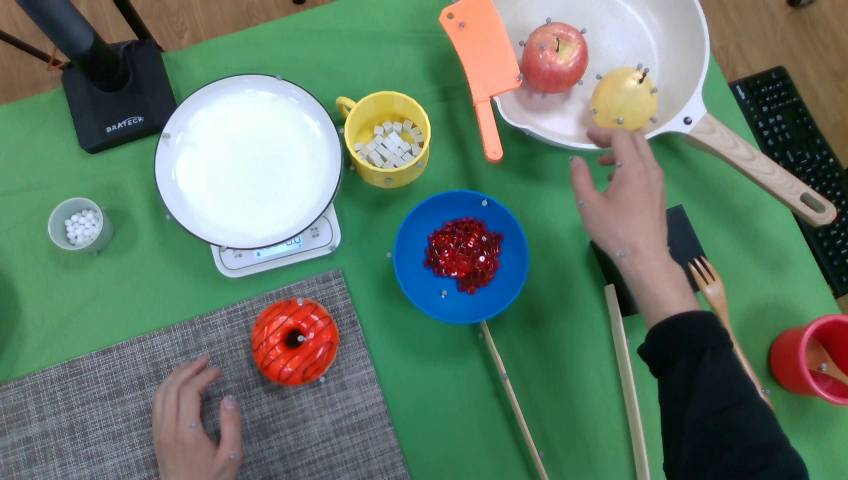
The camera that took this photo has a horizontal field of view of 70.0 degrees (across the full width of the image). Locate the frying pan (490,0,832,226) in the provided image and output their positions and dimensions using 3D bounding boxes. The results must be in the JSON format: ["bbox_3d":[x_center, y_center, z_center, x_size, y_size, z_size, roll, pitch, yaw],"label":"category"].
[{"bbox_3d":[0.272,-0.176,0.733,0.485,0.103,0.306,42,80,14],"label":"frying pan"}]

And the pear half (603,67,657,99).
[{"bbox_3d":[0.249,-0.192,0.738,0.070,0.088,0.031,11,77,6],"label":"pear half"}]

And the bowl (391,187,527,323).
[{"bbox_3d":[0.037,0.022,0.695,0.151,0.077,0.150,1,79,-2],"label":"bowl"}]

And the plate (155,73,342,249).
[{"bbox_3d":[-0.196,-0.089,0.696,0.209,0.038,0.208,1,78,-3],"label":"plate"}]

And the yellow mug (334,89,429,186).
[{"bbox_3d":[-0.057,-0.130,0.727,0.130,0.064,0.100,37,80,6],"label":"yellow mug"}]

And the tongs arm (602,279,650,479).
[{"bbox_3d":[0.234,0.236,0.687,0.028,0.028,0.386,-3,80,-11],"label":"tongs arm"}]

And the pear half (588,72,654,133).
[{"bbox_3d":[0.236,-0.163,0.721,0.076,0.110,0.056,16,78,5],"label":"pear half"}]

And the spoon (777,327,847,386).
[{"bbox_3d":[0.464,0.161,0.653,0.041,0.022,0.191,-24,36,-8],"label":"spoon"}]

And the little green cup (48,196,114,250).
[{"bbox_3d":[-0.394,-0.017,0.702,0.061,0.039,0.061,1,78,-2],"label":"little green cup"}]

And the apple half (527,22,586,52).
[{"bbox_3d":[0.166,-0.246,0.752,0.081,0.081,0.032,22,81,2],"label":"apple half"}]

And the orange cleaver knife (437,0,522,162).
[{"bbox_3d":[0.074,-0.195,0.709,0.077,0.012,0.210,-14,80,-3],"label":"orange cleaver knife"}]

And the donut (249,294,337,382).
[{"bbox_3d":[-0.147,0.109,0.681,0.099,0.048,0.098,0,80,-1],"label":"donut"}]

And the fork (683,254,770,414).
[{"bbox_3d":[0.352,0.110,0.699,0.028,0.018,0.208,-28,97,-10],"label":"fork"}]

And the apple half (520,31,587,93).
[{"bbox_3d":[0.153,-0.211,0.745,0.081,0.075,0.053,22,81,-1],"label":"apple half"}]

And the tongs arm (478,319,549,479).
[{"bbox_3d":[0.150,0.256,0.675,0.051,0.026,0.383,-19,81,-11],"label":"tongs arm"}]

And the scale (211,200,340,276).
[{"bbox_3d":[-0.193,-0.068,0.725,0.149,0.031,0.200,-15,80,-5],"label":"scale"}]

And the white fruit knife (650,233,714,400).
[{"bbox_3d":[0.293,0.089,0.693,0.016,0.027,0.207,-21,95,-6],"label":"white fruit knife"}]
